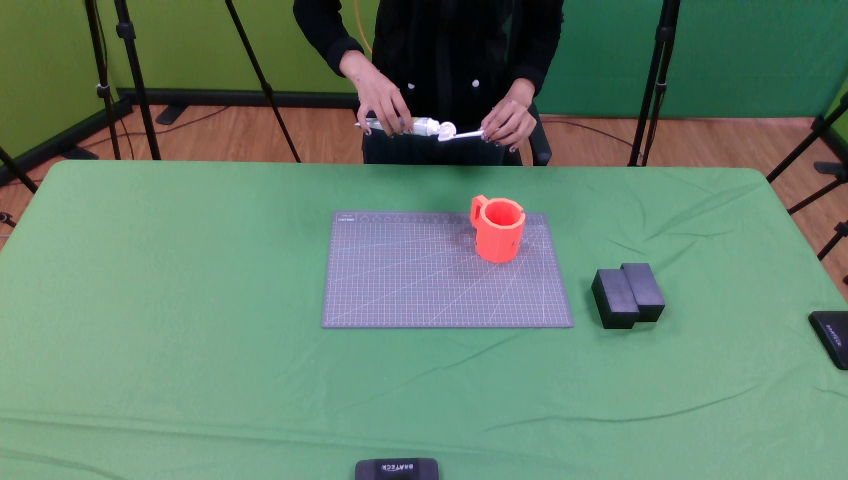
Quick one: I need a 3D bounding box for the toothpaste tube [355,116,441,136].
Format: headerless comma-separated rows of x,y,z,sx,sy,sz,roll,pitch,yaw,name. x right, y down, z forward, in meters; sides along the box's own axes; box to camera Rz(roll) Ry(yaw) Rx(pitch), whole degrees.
-0.047,-0.225,1.168,0.165,0.034,0.055,8,22,11,toothpaste tube

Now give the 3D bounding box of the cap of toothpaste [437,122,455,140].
0.042,-0.212,1.172,0.037,0.011,0.037,0,91,-9,cap of toothpaste

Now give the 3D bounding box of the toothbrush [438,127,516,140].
0.108,-0.212,1.192,0.182,0.014,0.016,-9,58,-28,toothbrush

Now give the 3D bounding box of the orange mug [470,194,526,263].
0.136,-0.030,1.180,0.083,0.101,0.125,-26,58,-26,orange mug
